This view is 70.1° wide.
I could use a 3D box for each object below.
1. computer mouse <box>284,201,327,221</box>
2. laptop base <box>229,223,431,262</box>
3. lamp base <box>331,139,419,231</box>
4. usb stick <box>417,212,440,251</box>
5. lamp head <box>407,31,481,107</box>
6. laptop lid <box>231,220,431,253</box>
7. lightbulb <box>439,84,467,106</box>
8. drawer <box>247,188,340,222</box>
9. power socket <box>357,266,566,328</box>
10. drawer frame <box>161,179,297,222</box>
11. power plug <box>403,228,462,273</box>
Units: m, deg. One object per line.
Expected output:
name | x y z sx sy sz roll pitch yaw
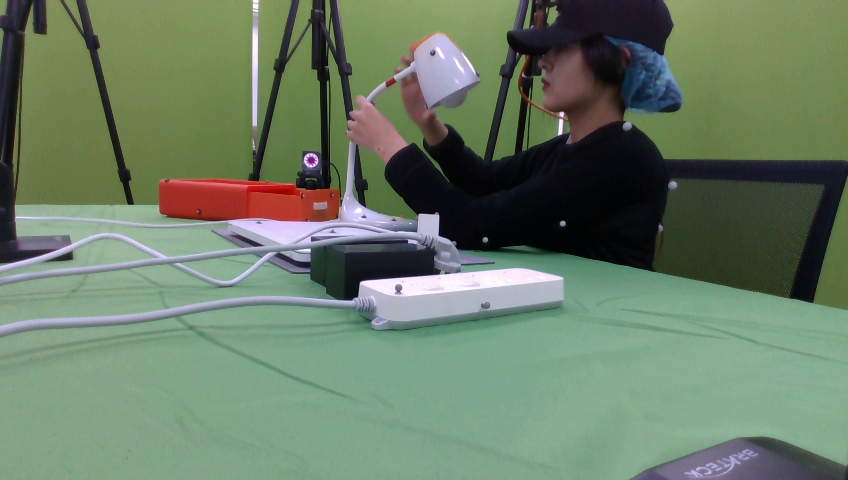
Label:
computer mouse | -0.252 -0.062 1.293 0.063 0.041 0.117 1 3 9
laptop base | -0.145 0.002 0.942 0.237 0.023 0.352 2 6 -32
lamp base | -0.097 -0.111 1.206 0.179 0.180 0.160 -1 6 -6
usb stick | 0.005 -0.003 0.721 0.027 0.059 0.021 0 -3 -2
lamp head | 0.029 -0.324 1.133 0.112 0.123 0.112 -32 3 2
laptop lid | -0.142 -0.009 0.942 0.243 0.013 0.355 1 7 -31
lightbulb | 0.038 -0.300 1.128 0.059 0.107 0.059 -32 4 3
drawer | -0.313 -0.078 1.301 0.211 0.073 0.195 4 8 15
power socket | 0.042 0.049 0.573 0.228 0.032 0.072 -3 8 -34
drawer frame | -0.421 -0.089 1.329 0.213 0.082 0.202 4 8 16
power plug | 0.006 0.016 0.647 0.073 0.052 0.035 17 12 -6
